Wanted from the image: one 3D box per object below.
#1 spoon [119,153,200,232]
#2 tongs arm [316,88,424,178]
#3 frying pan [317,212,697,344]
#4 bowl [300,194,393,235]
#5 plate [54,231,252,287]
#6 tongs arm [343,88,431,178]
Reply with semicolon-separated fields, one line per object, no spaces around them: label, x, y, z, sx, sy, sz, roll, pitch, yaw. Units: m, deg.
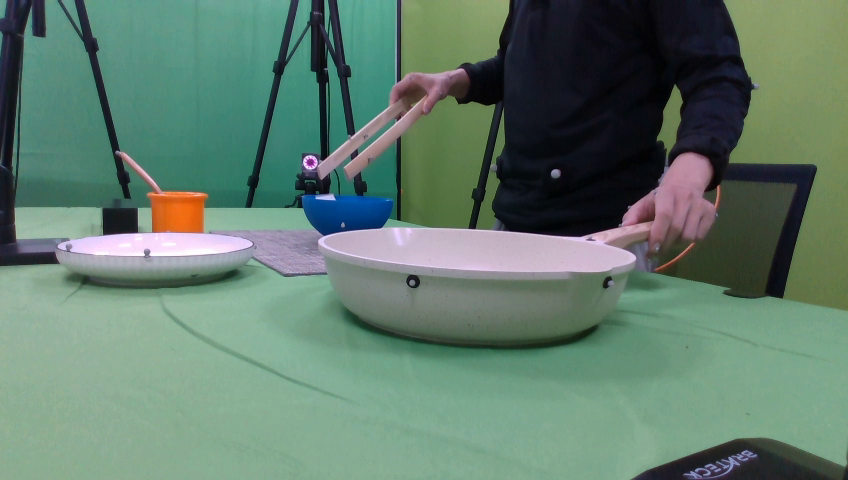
spoon;-0.439;-0.077;1.000;0.021;0.193;0.042;-43;-7;21
tongs arm;-0.087;-0.208;1.126;0.050;0.026;0.385;0;31;23
frying pan;0.133;0.013;0.629;0.490;0.102;0.305;-12;14;-31
bowl;-0.128;-0.034;0.996;0.151;0.077;0.151;2;7;0
plate;-0.309;0.020;0.705;0.208;0.039;0.207;3;7;0
tongs arm;-0.056;-0.207;1.112;0.028;0.028;0.388;-3;29;26
